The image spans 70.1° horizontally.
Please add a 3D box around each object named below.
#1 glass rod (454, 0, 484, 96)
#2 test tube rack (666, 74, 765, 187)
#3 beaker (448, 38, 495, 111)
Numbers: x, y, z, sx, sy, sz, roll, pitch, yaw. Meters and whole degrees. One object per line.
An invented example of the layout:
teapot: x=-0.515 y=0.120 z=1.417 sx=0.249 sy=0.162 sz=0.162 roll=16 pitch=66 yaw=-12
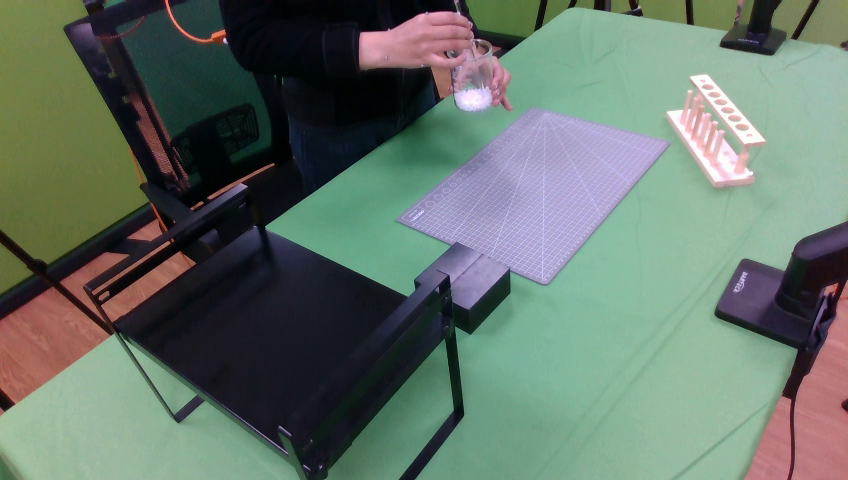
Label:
glass rod: x=0.070 y=-0.317 z=0.971 sx=0.008 sy=0.201 sz=0.008 roll=-13 pitch=42 yaw=12
test tube rack: x=0.512 y=-0.202 z=1.082 sx=0.067 sy=0.085 sz=0.241 roll=-5 pitch=41 yaw=2
beaker: x=0.080 y=-0.276 z=1.017 sx=0.083 sy=0.101 sz=0.074 roll=27 pitch=53 yaw=35
